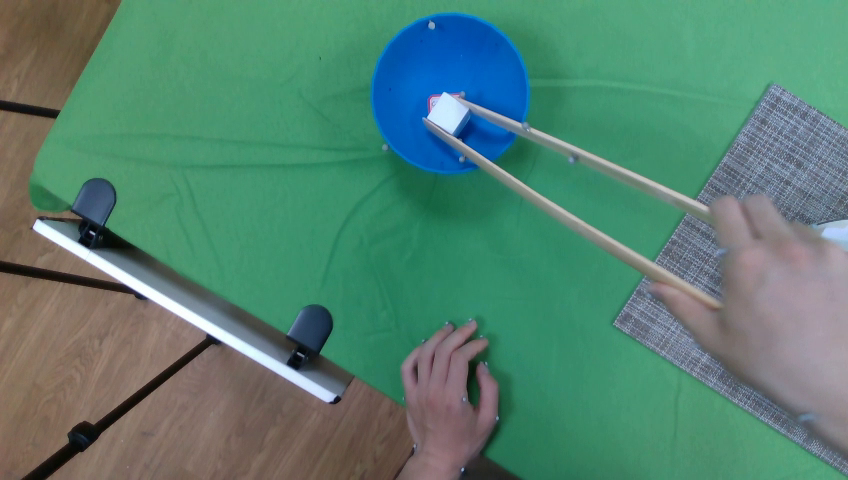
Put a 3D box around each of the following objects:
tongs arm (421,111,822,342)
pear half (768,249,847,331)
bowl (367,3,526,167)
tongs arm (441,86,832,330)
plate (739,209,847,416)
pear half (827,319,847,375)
[{"bbox_3d":[0.116,-0.031,0.484,0.028,0.028,0.383,-48,49,-3],"label":"tongs arm"},{"bbox_3d":[0.405,0.042,0.602,0.076,0.056,0.110,42,89,-4],"label":"pear half"},{"bbox_3d":[0.022,-0.145,0.602,0.151,0.077,0.151,0,93,2],"label":"bowl"},{"bbox_3d":[0.131,-0.049,0.484,0.380,0.027,0.051,34,86,40],"label":"tongs arm"},{"bbox_3d":[0.423,0.072,0.617,0.207,0.039,0.207,0,93,2],"label":"plate"},{"bbox_3d":[0.460,0.105,0.612,0.088,0.031,0.070,-26,95,9],"label":"pear half"}]
